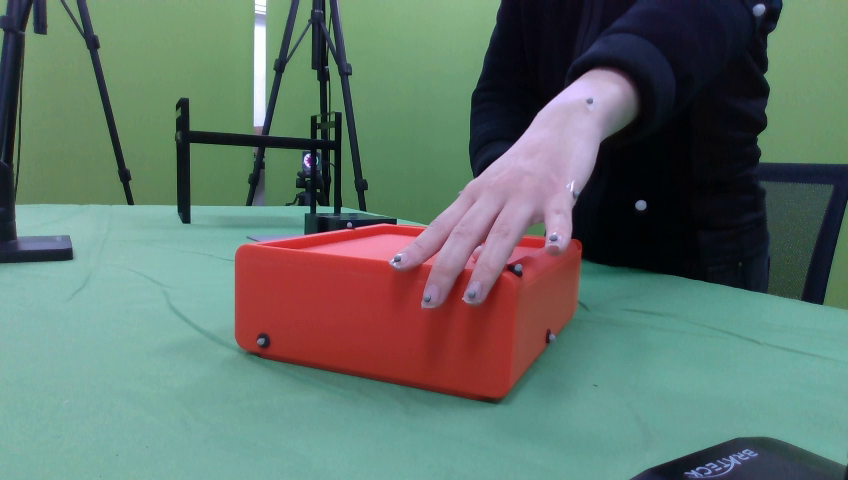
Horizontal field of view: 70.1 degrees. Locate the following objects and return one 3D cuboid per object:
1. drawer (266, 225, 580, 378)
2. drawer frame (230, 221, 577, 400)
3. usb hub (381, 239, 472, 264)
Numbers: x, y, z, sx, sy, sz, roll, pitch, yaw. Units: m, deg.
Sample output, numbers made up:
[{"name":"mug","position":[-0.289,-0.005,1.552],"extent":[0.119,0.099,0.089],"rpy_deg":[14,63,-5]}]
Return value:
[{"name":"drawer","position":[0.012,0.038,0.502],"extent":[0.194,0.073,0.212],"rpy_deg":[6,9,23]},{"name":"drawer frame","position":[0.000,0.037,0.474],"extent":[0.201,0.082,0.214],"rpy_deg":[5,9,22]},{"name":"usb hub","position":[0.005,0.015,0.852],"extent":[0.126,0.025,0.049],"rpy_deg":[-3,9,-36]}]
